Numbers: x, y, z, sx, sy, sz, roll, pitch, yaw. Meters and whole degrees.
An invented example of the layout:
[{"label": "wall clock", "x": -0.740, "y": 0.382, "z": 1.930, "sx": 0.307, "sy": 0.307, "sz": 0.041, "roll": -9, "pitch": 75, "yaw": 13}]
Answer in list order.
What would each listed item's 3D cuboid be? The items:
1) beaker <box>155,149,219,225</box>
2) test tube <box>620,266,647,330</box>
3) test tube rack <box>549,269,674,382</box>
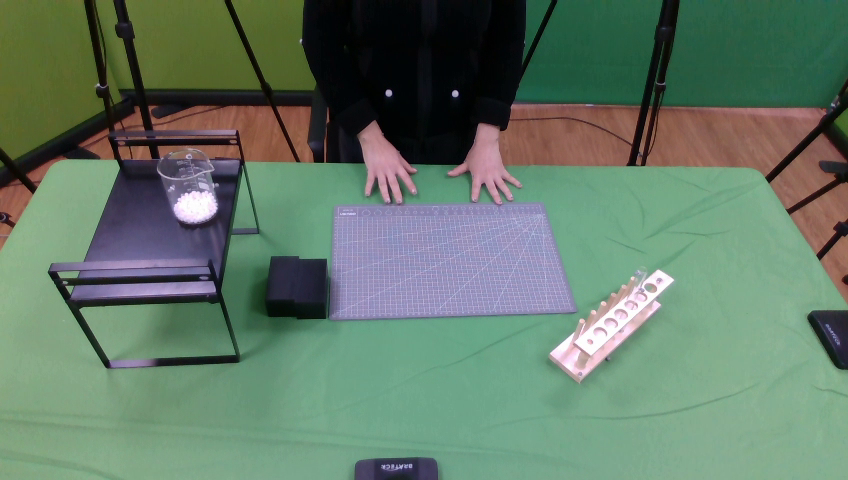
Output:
[{"label": "beaker", "x": -0.362, "y": -0.080, "z": 0.945, "sx": 0.084, "sy": 0.101, "sz": 0.073, "roll": 4, "pitch": 46, "yaw": -1}, {"label": "test tube", "x": 0.347, "y": 0.100, "z": 1.013, "sx": 0.017, "sy": 0.151, "sz": 0.017, "roll": 1, "pitch": 43, "yaw": 0}, {"label": "test tube rack", "x": 0.325, "y": 0.134, "z": 1.047, "sx": 0.242, "sy": 0.085, "sz": 0.066, "roll": -32, "pitch": 56, "yaw": -30}]
